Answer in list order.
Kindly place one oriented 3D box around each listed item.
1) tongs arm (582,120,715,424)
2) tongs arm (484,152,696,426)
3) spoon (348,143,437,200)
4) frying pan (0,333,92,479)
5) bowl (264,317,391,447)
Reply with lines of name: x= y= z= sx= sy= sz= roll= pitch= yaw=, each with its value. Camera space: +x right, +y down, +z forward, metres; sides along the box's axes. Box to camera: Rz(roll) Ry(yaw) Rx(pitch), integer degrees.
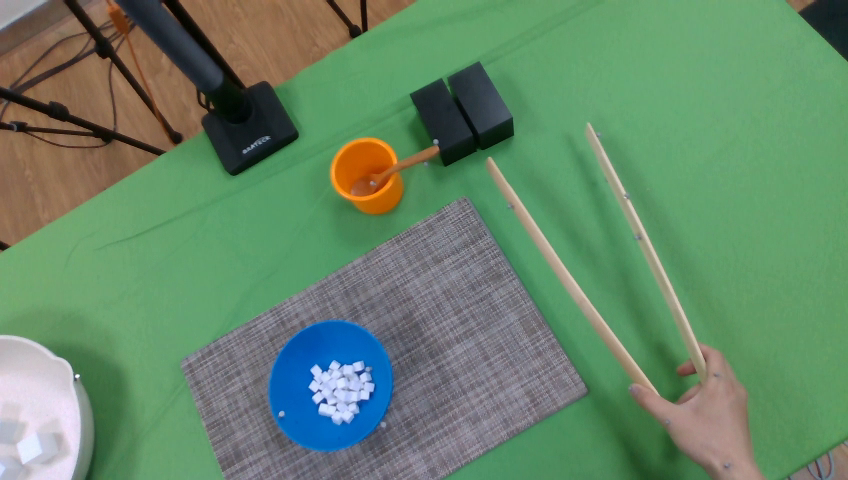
tongs arm: x=0.246 y=0.020 z=0.713 sx=0.051 sy=0.027 sz=0.381 roll=-15 pitch=66 yaw=-10
tongs arm: x=0.175 y=0.045 z=0.700 sx=0.028 sy=0.028 sz=0.384 roll=-25 pitch=67 yaw=-18
spoon: x=-0.046 y=-0.089 z=0.779 sx=0.022 sy=0.193 sz=0.041 roll=19 pitch=68 yaw=-29
frying pan: x=-0.502 y=0.336 z=0.748 sx=0.306 sy=0.104 sz=0.483 roll=-43 pitch=63 yaw=-4
bowl: x=-0.107 y=0.175 z=0.740 sx=0.151 sy=0.077 sz=0.150 roll=-3 pitch=72 yaw=9
